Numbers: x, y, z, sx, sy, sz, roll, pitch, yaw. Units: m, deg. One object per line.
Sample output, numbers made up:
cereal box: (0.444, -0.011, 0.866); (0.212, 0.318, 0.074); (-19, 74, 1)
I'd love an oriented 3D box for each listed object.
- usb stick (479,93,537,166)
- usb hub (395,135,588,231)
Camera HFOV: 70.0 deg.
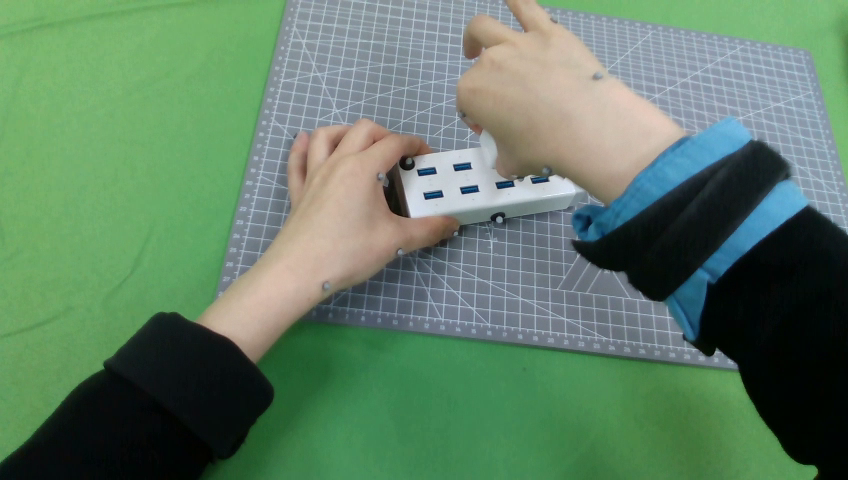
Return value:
usb stick: (0.052, -0.067, 0.396); (0.021, 0.059, 0.027); (-11, 66, -16)
usb hub: (0.045, -0.041, 0.416); (0.125, 0.025, 0.049); (-9, 66, -12)
